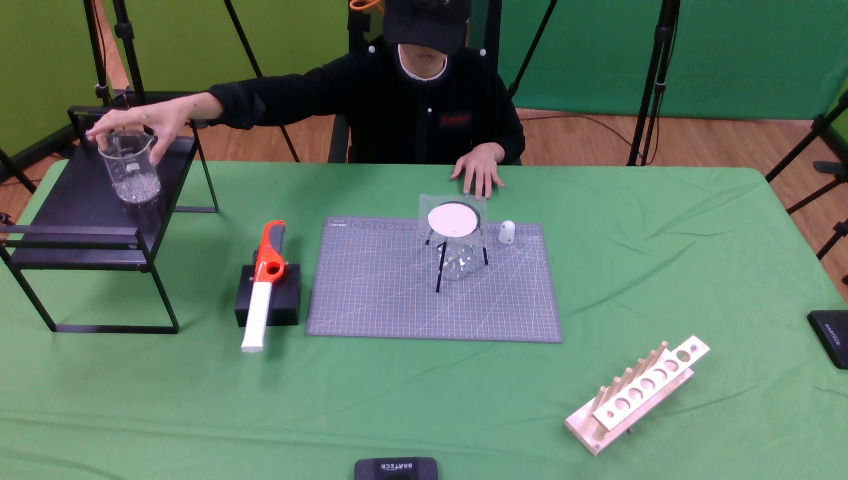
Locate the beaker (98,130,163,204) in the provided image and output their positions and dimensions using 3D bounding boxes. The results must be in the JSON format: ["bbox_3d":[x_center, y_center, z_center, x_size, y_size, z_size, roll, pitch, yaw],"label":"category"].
[{"bbox_3d":[-0.461,-0.115,0.966,0.084,0.101,0.073,-27,55,-28],"label":"beaker"}]

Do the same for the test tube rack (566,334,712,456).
[{"bbox_3d":[0.338,0.228,0.950,0.242,0.085,0.066,-26,52,-26],"label":"test tube rack"}]

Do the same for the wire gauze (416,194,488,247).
[{"bbox_3d":[0.050,-0.039,1.060,0.125,0.011,0.121,4,46,3],"label":"wire gauze"}]

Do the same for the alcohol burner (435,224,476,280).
[{"bbox_3d":[0.060,0.017,1.114,0.078,0.119,0.077,3,44,-2],"label":"alcohol burner"}]

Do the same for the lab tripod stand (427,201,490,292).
[{"bbox_3d":[0.053,0.003,1.114,0.148,0.132,0.147,0,46,0],"label":"lab tripod stand"}]

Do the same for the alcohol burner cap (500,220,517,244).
[{"bbox_3d":[0.170,-0.018,1.205,0.034,0.048,0.033,1,46,0],"label":"alcohol burner cap"}]

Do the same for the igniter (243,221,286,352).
[{"bbox_3d":[-0.273,0.068,1.041,0.057,0.025,0.274,2,48,-6],"label":"igniter"}]
